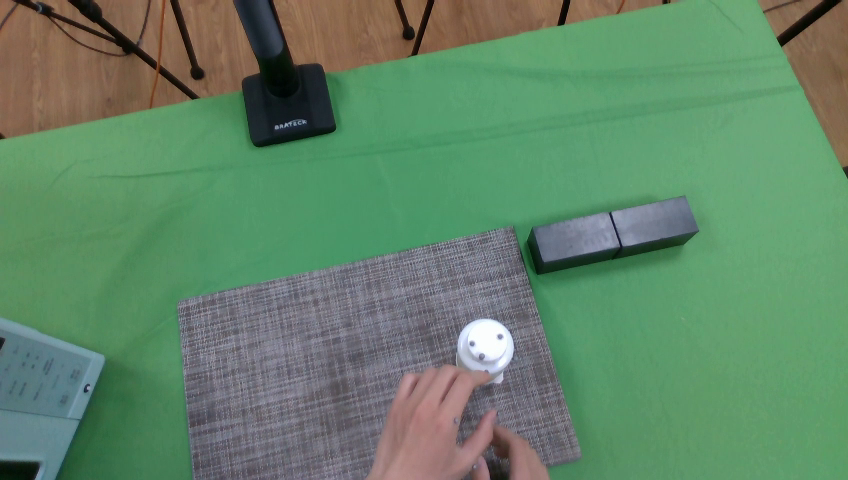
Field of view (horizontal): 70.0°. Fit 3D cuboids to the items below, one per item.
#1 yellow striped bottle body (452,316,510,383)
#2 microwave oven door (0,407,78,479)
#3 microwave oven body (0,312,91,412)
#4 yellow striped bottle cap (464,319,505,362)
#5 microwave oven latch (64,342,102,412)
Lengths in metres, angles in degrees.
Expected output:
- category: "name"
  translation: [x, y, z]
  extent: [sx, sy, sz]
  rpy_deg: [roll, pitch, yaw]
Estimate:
- category: "yellow striped bottle body"
  translation: [0.065, 0.126, 0.699]
  extent: [0.063, 0.121, 0.062]
  rpy_deg: [0, 69, 1]
- category: "microwave oven door"
  translation: [-0.471, 0.325, 0.553]
  extent: [0.039, 0.245, 0.354]
  rpy_deg: [13, 71, 6]
- category: "microwave oven body"
  translation: [-0.602, 0.255, 0.585]
  extent: [0.326, 0.261, 0.439]
  rpy_deg: [14, 72, 5]
- category: "yellow striped bottle cap"
  translation: [0.065, 0.108, 0.650]
  extent: [0.044, 0.019, 0.044]
  rpy_deg: [0, 71, 2]
- category: "microwave oven latch"
  translation: [-0.413, 0.161, 0.719]
  extent: [0.030, 0.029, 0.079]
  rpy_deg: [16, 72, 5]
